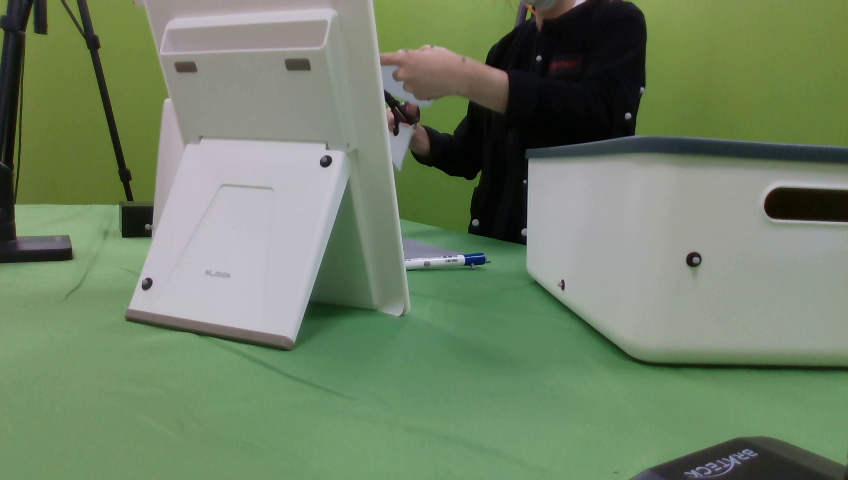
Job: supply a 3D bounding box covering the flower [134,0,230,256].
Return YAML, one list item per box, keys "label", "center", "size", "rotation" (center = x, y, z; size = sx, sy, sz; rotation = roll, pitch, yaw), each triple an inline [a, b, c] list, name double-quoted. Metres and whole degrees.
- label: "flower"
  center: [-0.282, -0.147, 0.713]
  size: [0.038, 0.362, 0.044]
  rotation: [-23, 24, -31]

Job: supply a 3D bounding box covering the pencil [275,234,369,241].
- label: "pencil"
  center: [-0.169, -0.006, 1.036]
  size: [0.195, 0.012, 0.012]
  rotation: [-2, 8, -45]

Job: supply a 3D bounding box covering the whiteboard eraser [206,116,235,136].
- label: "whiteboard eraser"
  center: [-0.450, -0.252, 1.335]
  size: [0.056, 0.042, 0.112]
  rotation: [1, 7, -22]

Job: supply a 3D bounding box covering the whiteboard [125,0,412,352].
- label: "whiteboard"
  center: [-0.151, -0.049, 0.472]
  size: [0.216, 0.305, 0.144]
  rotation: [6, 27, 24]

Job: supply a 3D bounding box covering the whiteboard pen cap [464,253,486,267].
- label: "whiteboard pen cap"
  center: [0.066, 0.027, 0.818]
  size: [0.033, 0.018, 0.018]
  rotation: [-5, 10, -24]

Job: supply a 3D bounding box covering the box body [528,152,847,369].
- label: "box body"
  center: [0.257, -0.005, 0.591]
  size: [0.254, 0.160, 0.363]
  rotation: [2, 7, -4]

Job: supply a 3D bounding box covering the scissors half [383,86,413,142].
- label: "scissors half"
  center: [-0.059, -0.231, 1.071]
  size: [0.012, 0.040, 0.176]
  rotation: [21, -21, 31]

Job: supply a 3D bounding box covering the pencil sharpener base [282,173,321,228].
- label: "pencil sharpener base"
  center: [-0.247, -0.080, 1.212]
  size: [0.061, 0.107, 0.076]
  rotation: [-2, 5, -28]

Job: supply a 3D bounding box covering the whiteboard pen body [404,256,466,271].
- label: "whiteboard pen body"
  center: [0.013, 0.030, 0.792]
  size: [0.141, 0.017, 0.017]
  rotation: [-3, 9, -24]

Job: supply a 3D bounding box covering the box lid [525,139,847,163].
- label: "box lid"
  center: [0.261, -0.078, 0.580]
  size: [0.264, 0.015, 0.371]
  rotation: [2, 7, -4]

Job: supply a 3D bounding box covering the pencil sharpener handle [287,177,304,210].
- label: "pencil sharpener handle"
  center: [-0.269, -0.096, 1.257]
  size: [0.036, 0.067, 0.030]
  rotation: [-8, 8, -27]

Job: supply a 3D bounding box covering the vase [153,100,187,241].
- label: "vase"
  center: [-0.278, -0.066, 0.736]
  size: [0.098, 0.200, 0.098]
  rotation: [2, 9, 0]

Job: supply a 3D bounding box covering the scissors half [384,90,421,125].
- label: "scissors half"
  center: [-0.050, -0.249, 1.075]
  size: [0.013, 0.040, 0.176]
  rotation: [15, -2, 29]
